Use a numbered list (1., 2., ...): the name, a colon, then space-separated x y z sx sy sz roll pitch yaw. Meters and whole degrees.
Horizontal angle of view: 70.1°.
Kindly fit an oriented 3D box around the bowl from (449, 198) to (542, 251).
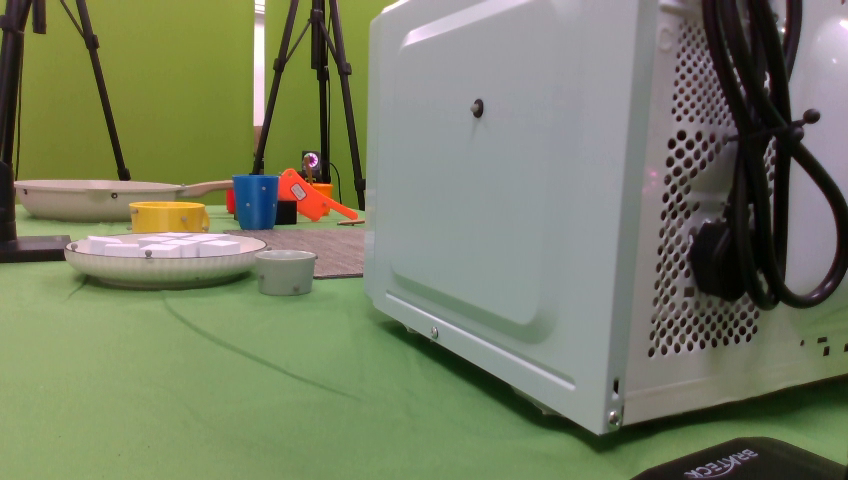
1. bowl: 0.114 -0.025 0.988 0.151 0.077 0.151 2 8 0

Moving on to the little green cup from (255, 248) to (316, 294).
1. little green cup: -0.144 0.032 0.626 0.061 0.038 0.061 4 7 0

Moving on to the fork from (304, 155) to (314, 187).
1. fork: -0.268 -0.134 1.446 0.028 0.018 0.207 2 -36 -1

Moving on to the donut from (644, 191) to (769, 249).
1. donut: 0.239 -0.016 0.517 0.099 0.048 0.099 5 5 0

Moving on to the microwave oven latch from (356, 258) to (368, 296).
1. microwave oven latch: -0.019 0.031 0.528 0.079 0.029 0.030 -1 7 -24

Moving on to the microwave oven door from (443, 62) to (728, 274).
1. microwave oven door: 0.189 -0.098 0.786 0.354 0.243 0.039 7 9 31

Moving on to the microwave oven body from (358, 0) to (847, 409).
1. microwave oven body: 0.210 -0.051 0.472 0.444 0.260 0.324 -1 7 -28

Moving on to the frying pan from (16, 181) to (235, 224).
1. frying pan: -0.553 -0.096 1.266 0.490 0.102 0.305 -10 13 -24

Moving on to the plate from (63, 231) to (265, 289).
1. plate: -0.288 0.021 0.687 0.208 0.039 0.207 2 8 0

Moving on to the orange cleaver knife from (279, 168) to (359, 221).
1. orange cleaver knife: -0.236 -0.084 1.333 0.212 0.077 0.012 31 -10 -32

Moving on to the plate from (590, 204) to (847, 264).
1. plate: 0.246 -0.007 0.508 0.209 0.038 0.209 3 4 0

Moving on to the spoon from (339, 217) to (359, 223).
1. spoon: -0.087 -0.041 1.268 0.193 0.021 0.041 4 25 13

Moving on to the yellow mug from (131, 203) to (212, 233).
1. yellow mug: -0.356 -0.020 0.878 0.099 0.064 0.131 4 7 22

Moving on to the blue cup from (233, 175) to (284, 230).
1. blue cup: -0.314 -0.071 1.141 0.093 0.100 0.092 -1 7 0
